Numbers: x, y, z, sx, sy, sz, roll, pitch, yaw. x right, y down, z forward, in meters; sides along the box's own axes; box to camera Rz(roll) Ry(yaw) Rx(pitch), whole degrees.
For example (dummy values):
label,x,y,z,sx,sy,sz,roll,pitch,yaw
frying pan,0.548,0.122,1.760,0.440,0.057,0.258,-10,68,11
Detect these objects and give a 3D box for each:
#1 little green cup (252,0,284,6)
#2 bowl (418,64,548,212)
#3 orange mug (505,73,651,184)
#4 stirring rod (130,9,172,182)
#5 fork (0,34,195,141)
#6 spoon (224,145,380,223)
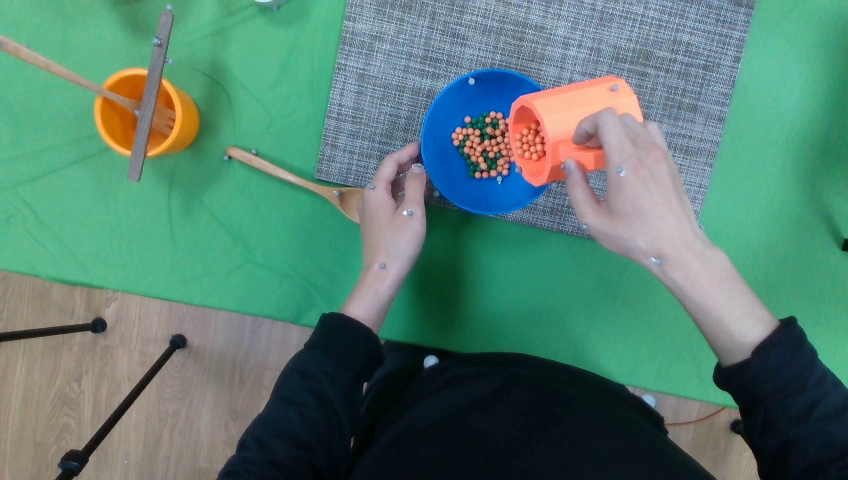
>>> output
label,x,y,z,sx,sy,sz,roll,pitch,yaw
little green cup,-0.174,-0.286,0.660,0.061,0.038,0.061,0,97,0
bowl,0.068,-0.107,0.663,0.151,0.076,0.151,0,98,0
orange mug,0.144,-0.099,0.562,0.101,0.125,0.084,-14,118,-12
stirring rod,-0.280,-0.146,0.619,0.014,0.006,0.176,13,97,-1
fork,-0.333,-0.155,0.620,0.209,0.018,0.028,26,101,-47
spoon,-0.140,-0.069,0.696,0.194,0.021,0.042,23,110,-4
